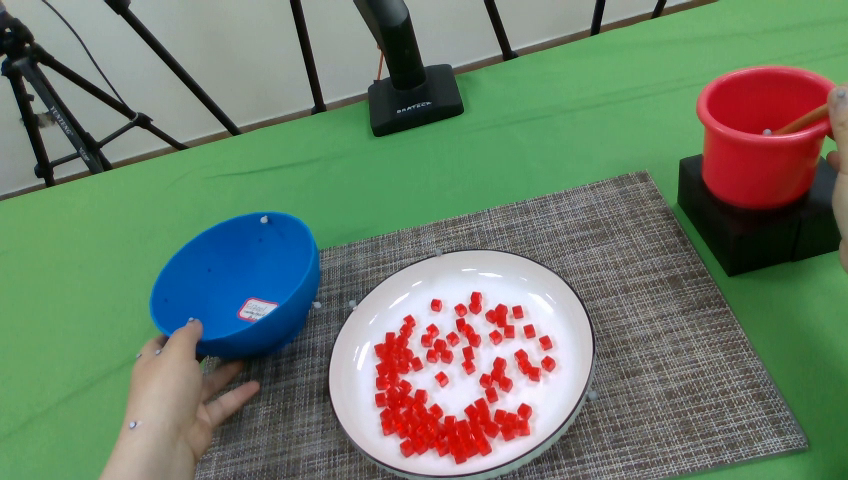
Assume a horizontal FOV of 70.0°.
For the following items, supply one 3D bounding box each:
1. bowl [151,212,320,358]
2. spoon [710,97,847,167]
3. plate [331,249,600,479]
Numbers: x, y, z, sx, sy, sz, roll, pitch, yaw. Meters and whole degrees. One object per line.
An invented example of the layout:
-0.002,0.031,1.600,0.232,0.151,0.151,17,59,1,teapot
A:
-0.157,0.053,0.552,0.151,0.077,0.150,-10,44,10,bowl
0.280,-0.085,0.425,0.041,0.193,0.021,-37,91,-20,spoon
0.031,0.093,0.476,0.207,0.039,0.205,-10,43,10,plate
